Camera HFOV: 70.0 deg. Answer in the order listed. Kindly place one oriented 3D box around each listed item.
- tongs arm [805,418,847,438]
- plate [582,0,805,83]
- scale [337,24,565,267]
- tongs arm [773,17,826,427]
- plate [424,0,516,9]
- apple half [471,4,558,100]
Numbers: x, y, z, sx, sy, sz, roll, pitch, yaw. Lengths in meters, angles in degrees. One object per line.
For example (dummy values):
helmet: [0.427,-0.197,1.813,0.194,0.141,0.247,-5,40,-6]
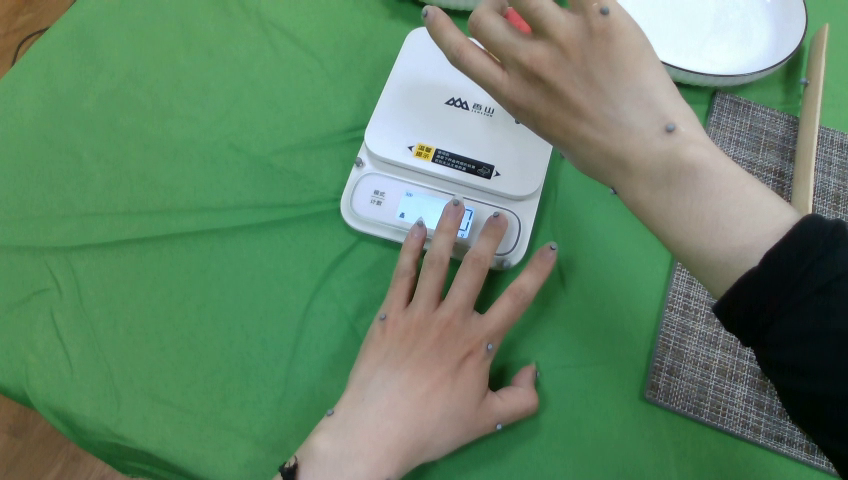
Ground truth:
tongs arm: [0.385,-0.006,0.474,0.050,0.027,0.383,32,66,11]
plate: [0.249,-0.226,0.576,0.209,0.038,0.207,2,63,-3]
scale: [0.027,-0.084,0.493,0.148,0.032,0.199,16,64,4]
tongs arm: [0.311,-0.042,0.489,0.028,0.028,0.385,20,64,2]
plate: [0.038,-0.301,0.599,0.208,0.039,0.206,2,63,-3]
apple half: [0.073,-0.140,0.439,0.033,0.082,0.081,-44,72,-4]
